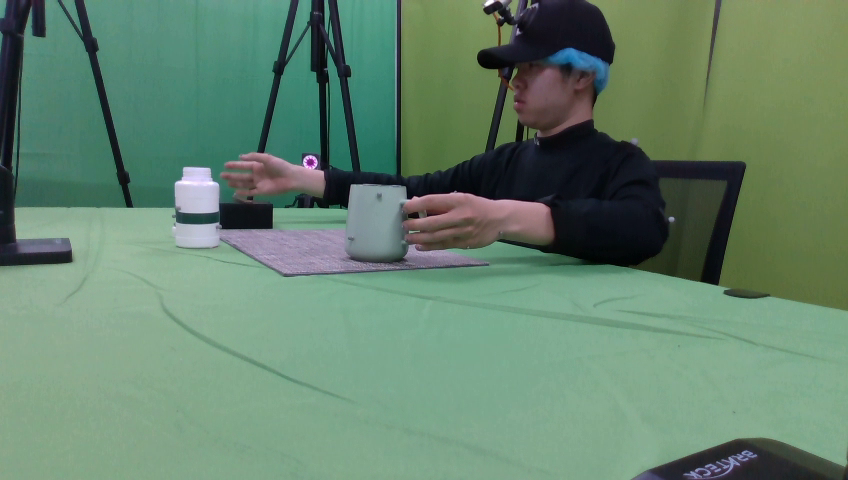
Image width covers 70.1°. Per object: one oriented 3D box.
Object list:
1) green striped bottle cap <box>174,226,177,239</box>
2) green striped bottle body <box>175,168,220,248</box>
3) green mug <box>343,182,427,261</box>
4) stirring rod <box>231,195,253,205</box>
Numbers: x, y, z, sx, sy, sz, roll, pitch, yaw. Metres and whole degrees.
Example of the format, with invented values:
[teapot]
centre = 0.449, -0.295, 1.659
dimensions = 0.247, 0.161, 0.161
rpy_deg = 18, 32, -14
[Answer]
[green striped bottle cap]
centre = -0.405, -0.015, 1.036
dimensions = 0.044, 0.020, 0.044
rpy_deg = -1, 9, 0
[green striped bottle body]
centre = -0.345, -0.050, 0.924
dimensions = 0.063, 0.119, 0.063
rpy_deg = 2, 7, 0
[green mug]
centre = -0.053, -0.026, 0.847
dimensions = 0.125, 0.105, 0.093
rpy_deg = 6, 8, 27
[stirring rod]
centre = -0.373, -0.083, 1.235
dimensions = 0.014, 0.006, 0.175
rpy_deg = 7, 5, -28
